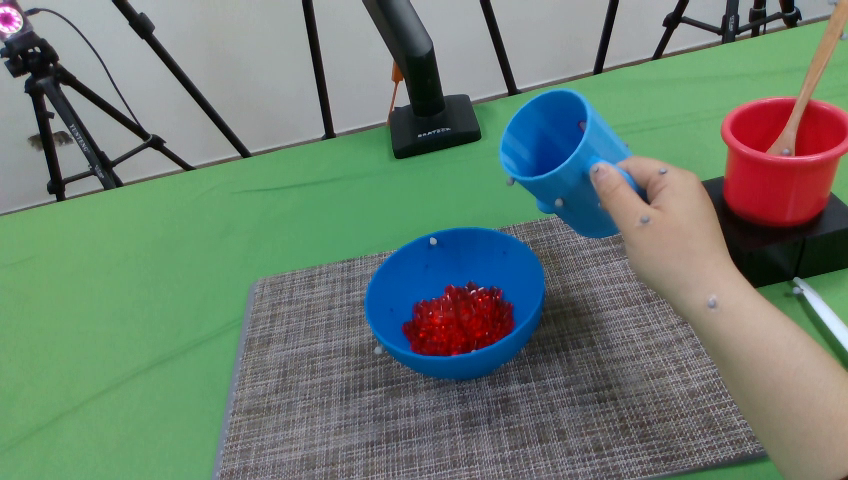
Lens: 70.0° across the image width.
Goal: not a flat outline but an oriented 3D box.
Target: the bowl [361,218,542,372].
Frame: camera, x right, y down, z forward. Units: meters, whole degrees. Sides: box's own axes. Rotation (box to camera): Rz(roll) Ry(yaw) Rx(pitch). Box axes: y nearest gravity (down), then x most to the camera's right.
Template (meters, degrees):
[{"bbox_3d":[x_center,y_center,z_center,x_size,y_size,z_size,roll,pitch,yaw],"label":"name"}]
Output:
[{"bbox_3d":[0.029,0.060,0.517,0.151,0.077,0.150,-9,41,8],"label":"bowl"}]

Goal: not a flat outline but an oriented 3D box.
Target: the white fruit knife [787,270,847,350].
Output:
[{"bbox_3d":[0.327,0.091,0.447,0.027,0.016,0.205,9,36,-14],"label":"white fruit knife"}]

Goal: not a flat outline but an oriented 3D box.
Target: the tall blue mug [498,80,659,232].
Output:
[{"bbox_3d":[0.130,-0.061,0.466,0.106,0.109,0.077,4,70,43],"label":"tall blue mug"}]

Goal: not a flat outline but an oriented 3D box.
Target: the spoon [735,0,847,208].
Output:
[{"bbox_3d":[0.315,-0.117,0.508,0.041,0.022,0.194,26,99,40],"label":"spoon"}]
